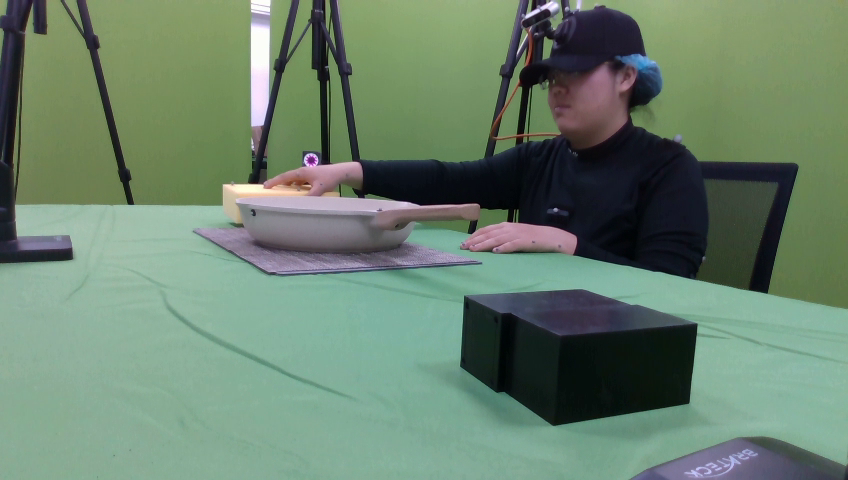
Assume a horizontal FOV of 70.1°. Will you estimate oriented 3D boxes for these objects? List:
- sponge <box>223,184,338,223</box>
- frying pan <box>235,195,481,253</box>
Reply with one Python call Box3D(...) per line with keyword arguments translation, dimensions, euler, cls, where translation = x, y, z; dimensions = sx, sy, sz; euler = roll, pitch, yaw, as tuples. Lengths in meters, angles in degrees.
Box3D(translation=(-0.291, -0.077, 1.230), dimensions=(0.208, 0.061, 0.117), euler=(-4, 14, -32), cls="sponge")
Box3D(translation=(-0.089, -0.034, 0.891), dimensions=(0.308, 0.102, 0.485), euler=(-4, 2, -36), cls="frying pan")
